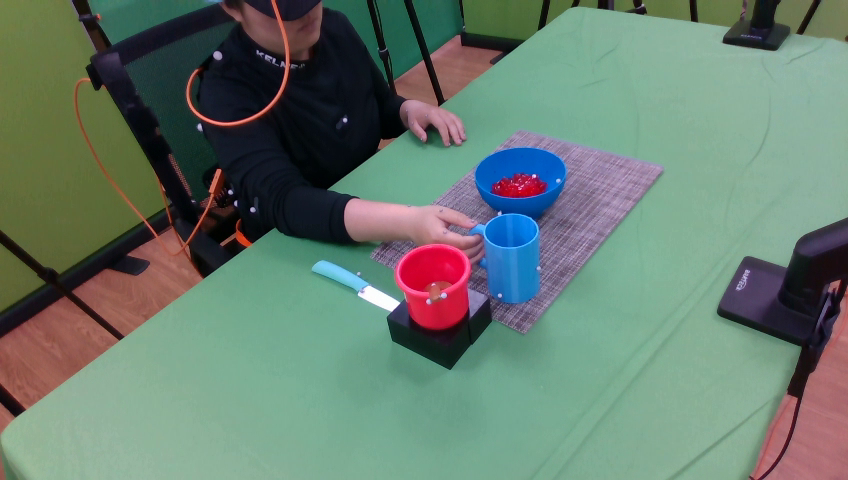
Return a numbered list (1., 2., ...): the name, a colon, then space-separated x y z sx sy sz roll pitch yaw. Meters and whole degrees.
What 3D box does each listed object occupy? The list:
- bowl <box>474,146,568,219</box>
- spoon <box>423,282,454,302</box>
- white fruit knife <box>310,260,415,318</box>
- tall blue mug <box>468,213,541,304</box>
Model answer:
1. bowl: 0.161 -0.083 1.001 0.151 0.077 0.150 -5 40 5
2. spoon: 0.015 0.062 0.733 0.041 0.021 0.194 -5 -4 3
3. white fruit knife: -0.095 0.074 0.920 0.206 0.016 0.027 24 75 31
4. tall blue mug: 0.111 0.026 0.856 0.107 0.108 0.077 2 42 13
